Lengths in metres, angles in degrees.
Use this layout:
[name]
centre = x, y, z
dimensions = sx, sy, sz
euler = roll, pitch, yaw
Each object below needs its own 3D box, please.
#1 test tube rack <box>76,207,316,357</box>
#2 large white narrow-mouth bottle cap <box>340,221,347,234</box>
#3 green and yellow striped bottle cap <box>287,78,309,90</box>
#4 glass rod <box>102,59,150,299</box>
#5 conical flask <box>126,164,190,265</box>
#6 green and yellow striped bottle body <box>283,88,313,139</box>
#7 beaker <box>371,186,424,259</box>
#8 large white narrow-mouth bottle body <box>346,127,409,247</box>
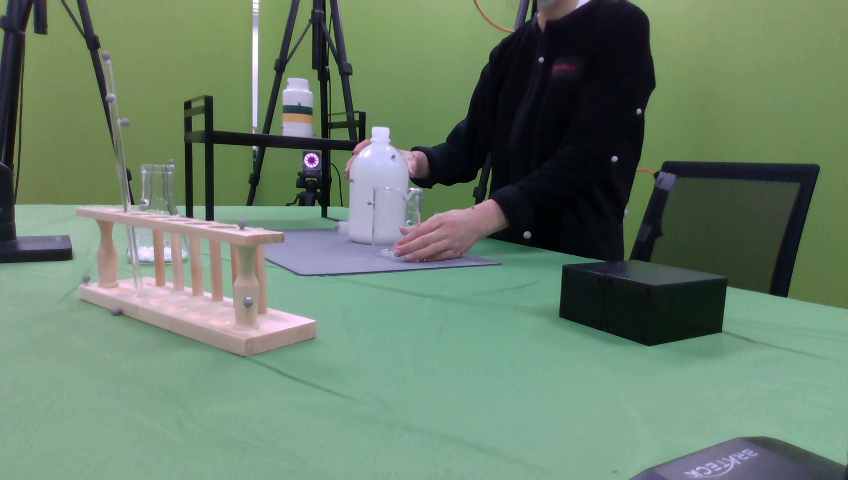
[test tube rack]
centre = -0.196, 0.023, 0.500
dimensions = 0.241, 0.085, 0.067
euler = 8, 9, 36
[large white narrow-mouth bottle cap]
centre = -0.139, -0.023, 1.127
dimensions = 0.038, 0.024, 0.037
euler = 4, 8, 0
[green and yellow striped bottle cap]
centre = -0.265, -0.326, 1.268
dimensions = 0.045, 0.020, 0.045
euler = 4, 6, 0
[glass rod]
centre = -0.243, -0.045, 0.496
dimensions = 0.008, 0.199, 0.008
euler = -4, 13, 1
[conical flask]
centre = -0.332, -0.033, 0.756
dimensions = 0.075, 0.122, 0.075
euler = 2, 7, 0
[green and yellow striped bottle body]
centre = -0.266, -0.275, 1.275
dimensions = 0.063, 0.119, 0.063
euler = 3, 7, 0
[beaker]
centre = -0.038, -0.025, 0.868
dimensions = 0.074, 0.100, 0.083
euler = -1, 8, -22
[large white narrow-mouth bottle body]
centre = -0.075, -0.091, 1.010
dimensions = 0.102, 0.194, 0.102
euler = 5, 8, 0
